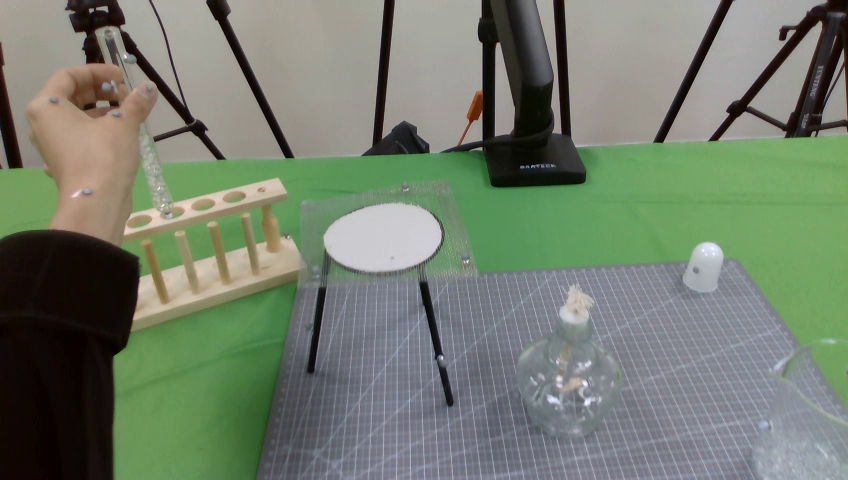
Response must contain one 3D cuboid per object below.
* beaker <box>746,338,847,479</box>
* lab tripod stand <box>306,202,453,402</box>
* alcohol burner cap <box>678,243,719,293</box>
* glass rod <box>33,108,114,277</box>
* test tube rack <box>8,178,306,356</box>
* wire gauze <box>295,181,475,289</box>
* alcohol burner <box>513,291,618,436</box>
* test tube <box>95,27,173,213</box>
[{"bbox_3d":[0.258,0.125,0.396,0.083,0.101,0.073,10,37,18],"label":"beaker"},{"bbox_3d":[-0.031,0.049,0.487,0.148,0.132,0.147,-2,38,2],"label":"lab tripod stand"},{"bbox_3d":[0.266,0.024,0.584,0.034,0.048,0.033,-1,36,1],"label":"alcohol burner cap"},{"bbox_3d":[-0.298,-0.024,0.533,0.008,0.201,0.008,-1,40,1],"label":"glass rod"},{"bbox_3d":[-0.246,0.020,0.583,0.243,0.086,0.066,-17,39,-20],"label":"test tube rack"},{"bbox_3d":[-0.034,-0.006,0.447,0.125,0.011,0.120,-7,36,-5],"label":"wire gauze"},{"bbox_3d":[0.105,0.087,0.445,0.078,0.120,0.077,-2,34,1],"label":"alcohol burner"},{"bbox_3d":[-0.217,-0.084,0.460,0.017,0.151,0.017,-1,37,1],"label":"test tube"}]
